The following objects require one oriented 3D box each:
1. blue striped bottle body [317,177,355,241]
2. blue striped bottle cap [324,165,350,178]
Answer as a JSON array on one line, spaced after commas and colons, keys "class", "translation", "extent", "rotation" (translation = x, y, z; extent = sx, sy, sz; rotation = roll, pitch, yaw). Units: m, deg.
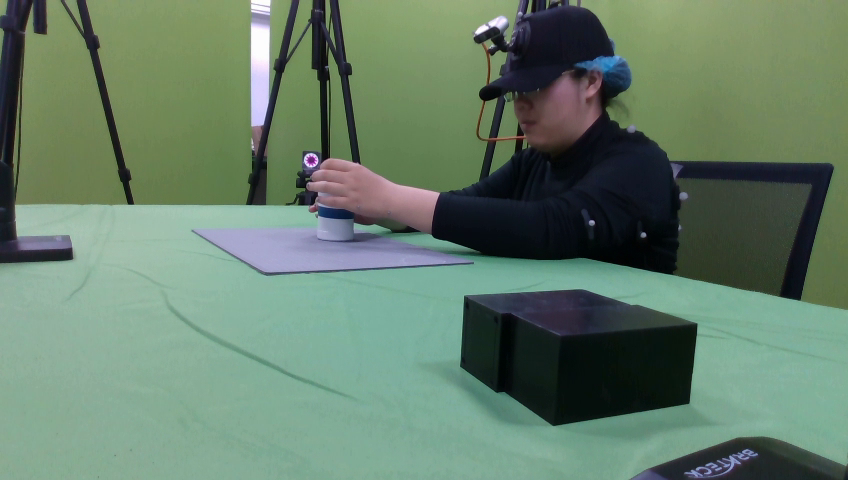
[{"class": "blue striped bottle body", "translation": [-0.149, -0.061, 1.023], "extent": [0.063, 0.120, 0.063], "rotation": [3, 8, 0]}, {"class": "blue striped bottle cap", "translation": [-0.146, -0.115, 1.018], "extent": [0.044, 0.020, 0.044], "rotation": [3, 9, 0]}]
